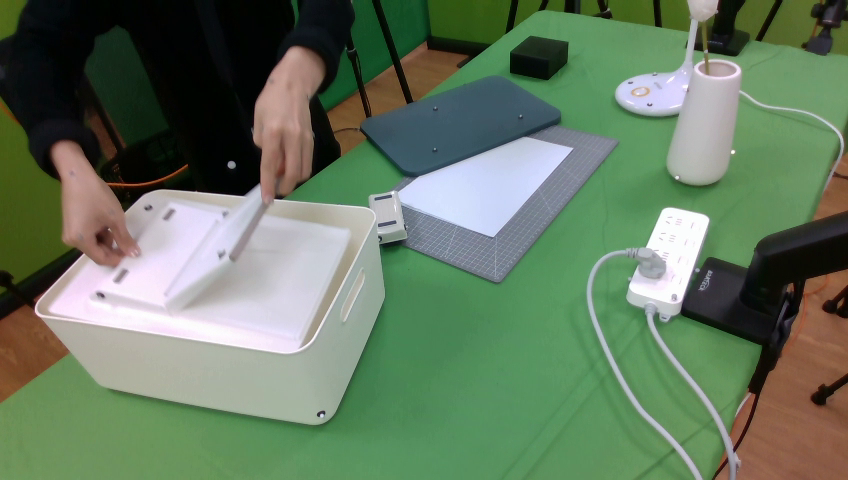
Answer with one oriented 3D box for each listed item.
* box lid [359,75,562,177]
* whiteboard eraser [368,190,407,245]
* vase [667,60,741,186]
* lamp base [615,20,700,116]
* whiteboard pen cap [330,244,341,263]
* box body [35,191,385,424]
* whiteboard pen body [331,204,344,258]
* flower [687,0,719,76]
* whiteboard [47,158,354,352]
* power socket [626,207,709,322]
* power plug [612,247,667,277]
[{"bbox_3d":[0.074,-0.249,1.267,0.373,0.015,0.261,-23,42,-18],"label":"box lid"},{"bbox_3d":[-0.061,-0.035,1.005,0.056,0.042,0.112,-9,40,-4],"label":"whiteboard eraser"},{"bbox_3d":[0.463,-0.189,0.994,0.098,0.201,0.097,-4,40,3],"label":"vase"},{"bbox_3d":[0.484,-0.364,1.211,0.180,0.181,0.159,-15,41,-14],"label":"lamp base"},{"bbox_3d":[-0.142,0.021,0.975,0.018,0.018,0.033,-7,39,0],"label":"whiteboard pen cap"},{"bbox_3d":[-0.254,0.081,0.807,0.363,0.161,0.253,5,42,14],"label":"box body"},{"bbox_3d":[-0.146,-0.016,1.020,0.017,0.017,0.140,-6,40,1],"label":"whiteboard pen body"},{"bbox_3d":[0.436,-0.242,0.934,0.038,0.364,0.043,-24,49,8],"label":"flower"},{"bbox_3d":[-0.265,-0.010,0.705,0.305,0.144,0.216,10,48,7],"label":"whiteboard"},{"bbox_3d":[0.360,0.026,0.886,0.072,0.033,0.227,17,46,27],"label":"power socket"},{"bbox_3d":[0.306,0.031,0.852,0.072,0.053,0.035,21,48,38],"label":"power plug"}]
